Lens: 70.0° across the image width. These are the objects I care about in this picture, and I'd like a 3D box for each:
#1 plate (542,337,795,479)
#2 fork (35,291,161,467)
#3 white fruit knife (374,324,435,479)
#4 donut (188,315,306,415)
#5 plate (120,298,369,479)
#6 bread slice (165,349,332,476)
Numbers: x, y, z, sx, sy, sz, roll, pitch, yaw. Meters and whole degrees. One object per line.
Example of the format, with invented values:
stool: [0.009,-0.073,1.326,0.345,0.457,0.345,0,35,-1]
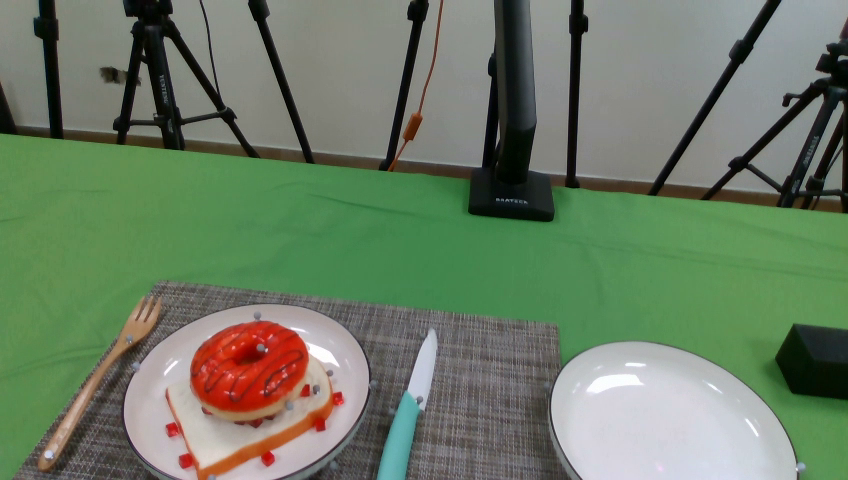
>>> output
plate: [0.206,0.172,0.533,0.208,0.039,0.205,3,36,-2]
fork: [-0.297,0.118,0.562,0.028,0.019,0.205,11,34,-2]
white fruit knife: [-0.013,0.147,0.558,0.027,0.016,0.206,33,34,-10]
donut: [-0.151,0.105,0.519,0.099,0.048,0.098,3,36,-2]
plate: [-0.154,0.133,0.541,0.209,0.038,0.207,3,36,-2]
bread slice: [-0.151,0.138,0.539,0.132,0.019,0.103,-21,44,-29]
